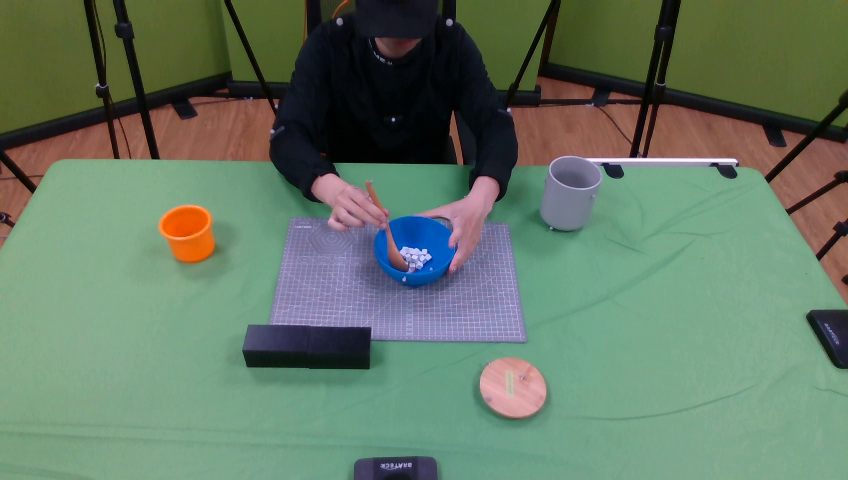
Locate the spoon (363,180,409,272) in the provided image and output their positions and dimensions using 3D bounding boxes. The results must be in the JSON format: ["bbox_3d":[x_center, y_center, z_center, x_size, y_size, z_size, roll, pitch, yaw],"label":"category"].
[{"bbox_3d":[-0.069,-0.021,1.061,0.041,0.194,0.021,7,34,43],"label":"spoon"}]

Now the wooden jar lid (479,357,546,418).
[{"bbox_3d":[0.142,0.240,0.979,0.108,0.021,0.107,1,46,-1],"label":"wooden jar lid"}]

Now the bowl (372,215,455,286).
[{"bbox_3d":[-0.020,0.033,1.121,0.151,0.077,0.150,2,46,-1],"label":"bowl"}]

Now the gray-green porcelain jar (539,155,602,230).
[{"bbox_3d":[0.294,-0.091,1.235,0.106,0.127,0.105,2,46,-2],"label":"gray-green porcelain jar"}]
